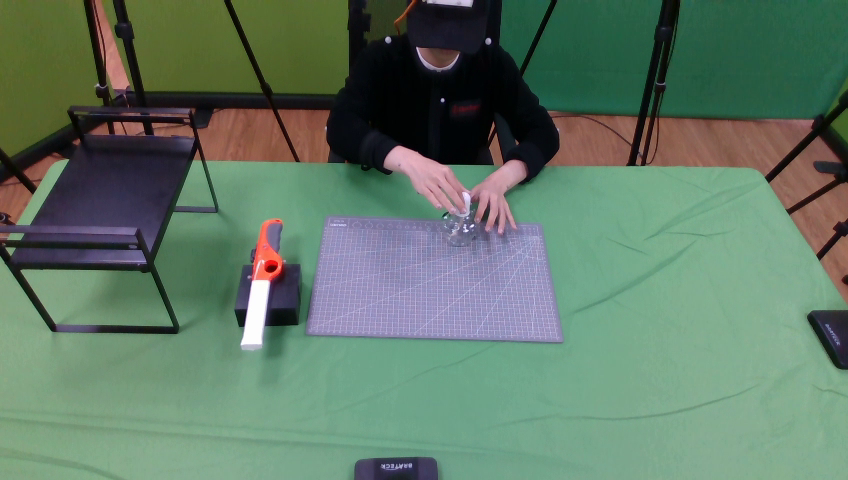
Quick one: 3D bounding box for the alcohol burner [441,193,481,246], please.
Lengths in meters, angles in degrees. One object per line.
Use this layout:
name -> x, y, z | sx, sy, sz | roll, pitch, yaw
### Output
alcohol burner -> 0.074, -0.046, 1.175 | 0.078, 0.119, 0.077 | 2, 44, -2

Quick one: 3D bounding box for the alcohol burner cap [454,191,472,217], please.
alcohol burner cap -> 0.075, -0.070, 1.150 | 0.034, 0.048, 0.033 | 1, 41, -1

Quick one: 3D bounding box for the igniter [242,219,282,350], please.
igniter -> -0.277, 0.065, 1.044 | 0.057, 0.025, 0.274 | 1, 48, -6
